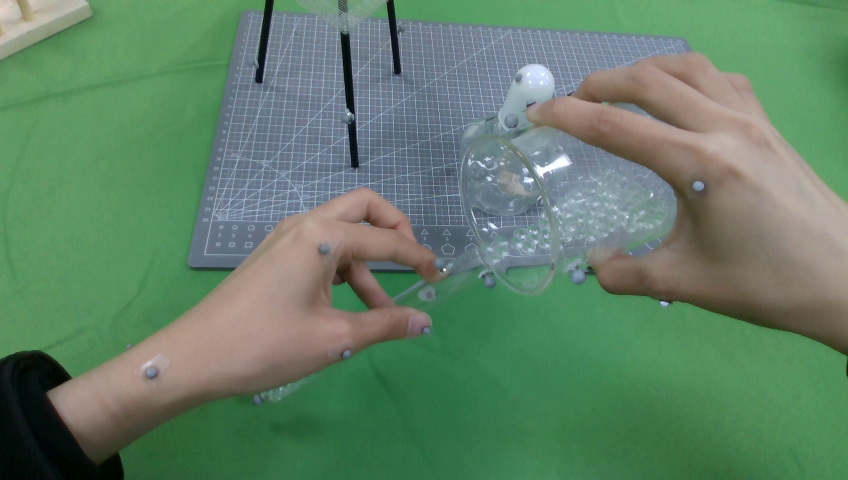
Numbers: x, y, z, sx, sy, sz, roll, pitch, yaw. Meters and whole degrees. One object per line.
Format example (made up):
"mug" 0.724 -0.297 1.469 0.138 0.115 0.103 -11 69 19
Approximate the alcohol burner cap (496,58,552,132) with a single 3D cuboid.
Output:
"alcohol burner cap" 0.068 -0.098 0.402 0.034 0.048 0.033 3 58 -5

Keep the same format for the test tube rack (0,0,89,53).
"test tube rack" -0.397 -0.176 0.462 0.066 0.086 0.241 33 56 16

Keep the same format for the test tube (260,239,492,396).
"test tube" -0.029 0.044 0.322 0.150 0.017 0.017 -33 56 15

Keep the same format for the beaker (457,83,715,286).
"beaker" 0.076 -0.028 0.286 0.100 0.084 0.073 -20 69 -20

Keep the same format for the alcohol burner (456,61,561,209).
"alcohol burner" 0.064 -0.078 0.432 0.078 0.120 0.077 5 52 -6

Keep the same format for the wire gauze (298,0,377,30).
"wire gauze" -0.063 -0.198 0.406 0.124 0.011 0.121 34 57 15

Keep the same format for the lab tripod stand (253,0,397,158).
"lab tripod stand" -0.067 -0.158 0.460 0.149 0.132 0.147 5 54 -6
